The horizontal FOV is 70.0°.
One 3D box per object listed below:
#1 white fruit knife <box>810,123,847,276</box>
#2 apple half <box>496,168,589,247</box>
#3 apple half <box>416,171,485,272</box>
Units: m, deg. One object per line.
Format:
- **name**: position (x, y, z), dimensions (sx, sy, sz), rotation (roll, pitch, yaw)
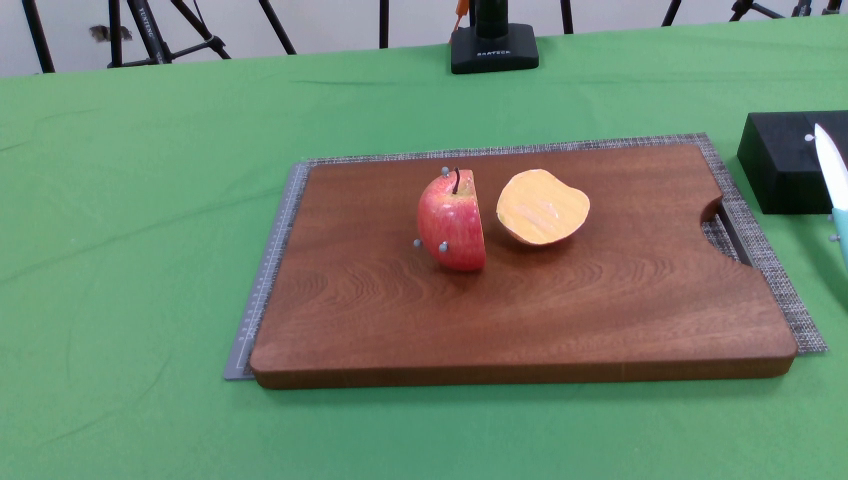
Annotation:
- **white fruit knife**: position (0.354, -0.018, 0.507), dimensions (0.027, 0.016, 0.205), rotation (0, 59, 7)
- **apple half**: position (0.101, -0.021, 0.532), dimensions (0.081, 0.033, 0.080), rotation (-2, 58, 4)
- **apple half**: position (0.021, -0.013, 0.504), dimensions (0.053, 0.075, 0.080), rotation (-9, 45, 4)
